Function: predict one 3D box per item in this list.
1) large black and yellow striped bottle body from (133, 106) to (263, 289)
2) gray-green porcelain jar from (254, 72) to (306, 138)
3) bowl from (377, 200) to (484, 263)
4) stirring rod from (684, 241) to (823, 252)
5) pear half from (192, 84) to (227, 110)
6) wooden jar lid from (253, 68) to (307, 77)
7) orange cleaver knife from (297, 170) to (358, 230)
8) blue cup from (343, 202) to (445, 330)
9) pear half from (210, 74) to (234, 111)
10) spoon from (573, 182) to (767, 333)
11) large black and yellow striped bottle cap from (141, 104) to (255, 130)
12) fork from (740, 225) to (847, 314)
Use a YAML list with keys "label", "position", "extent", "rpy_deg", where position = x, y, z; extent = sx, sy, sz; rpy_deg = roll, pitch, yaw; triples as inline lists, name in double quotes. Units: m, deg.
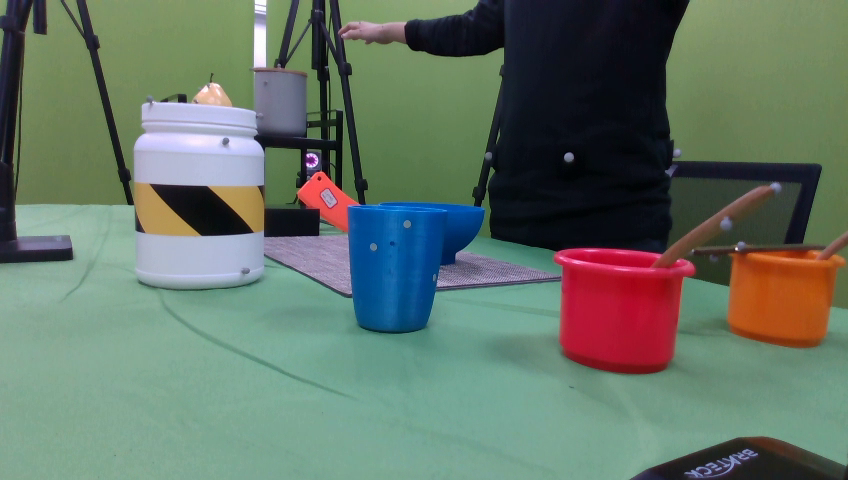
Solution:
- label: "large black and yellow striped bottle body"
  position: [-0.243, -0.048, 0.659]
  extent: [0.131, 0.184, 0.130]
  rpy_deg: [2, 7, 0]
- label: "gray-green porcelain jar"
  position: [-0.299, -0.277, 1.257]
  extent: [0.106, 0.126, 0.106]
  rpy_deg: [2, 8, 0]
- label: "bowl"
  position: [0.008, -0.012, 0.842]
  extent: [0.151, 0.077, 0.151]
  rpy_deg: [2, 7, 0]
- label: "stirring rod"
  position: [0.289, 0.005, 0.525]
  extent: [0.177, 0.006, 0.014]
  rpy_deg: [-1, 5, -26]
- label: "pear half"
  position: [-0.405, -0.248, 1.128]
  extent: [0.070, 0.088, 0.031]
  rpy_deg: [6, 7, 2]
- label: "wooden jar lid"
  position: [-0.296, -0.339, 1.250]
  extent: [0.108, 0.020, 0.108]
  rpy_deg: [3, 10, 0]
- label: "orange cleaver knife"
  position: [-0.149, -0.058, 1.170]
  extent: [0.212, 0.077, 0.012]
  rpy_deg: [33, -15, -32]
- label: "blue cup"
  position: [-0.027, 0.021, 0.510]
  extent: [0.093, 0.100, 0.092]
  rpy_deg: [3, 5, 0]
- label: "pear half"
  position: [-0.401, -0.262, 1.162]
  extent: [0.076, 0.109, 0.056]
  rpy_deg: [7, 7, 2]
- label: "spoon"
  position: [0.158, 0.020, 0.412]
  extent: [0.042, 0.021, 0.193]
  rpy_deg: [-2, -35, -21]
- label: "large black and yellow striped bottle cap"
  position: [-0.241, -0.131, 0.650]
  extent: [0.115, 0.019, 0.115]
  rpy_deg: [3, 8, 0]
- label: "fork"
  position: [0.323, 0.013, 0.485]
  extent: [0.028, 0.018, 0.207]
  rpy_deg: [8, -38, -6]
